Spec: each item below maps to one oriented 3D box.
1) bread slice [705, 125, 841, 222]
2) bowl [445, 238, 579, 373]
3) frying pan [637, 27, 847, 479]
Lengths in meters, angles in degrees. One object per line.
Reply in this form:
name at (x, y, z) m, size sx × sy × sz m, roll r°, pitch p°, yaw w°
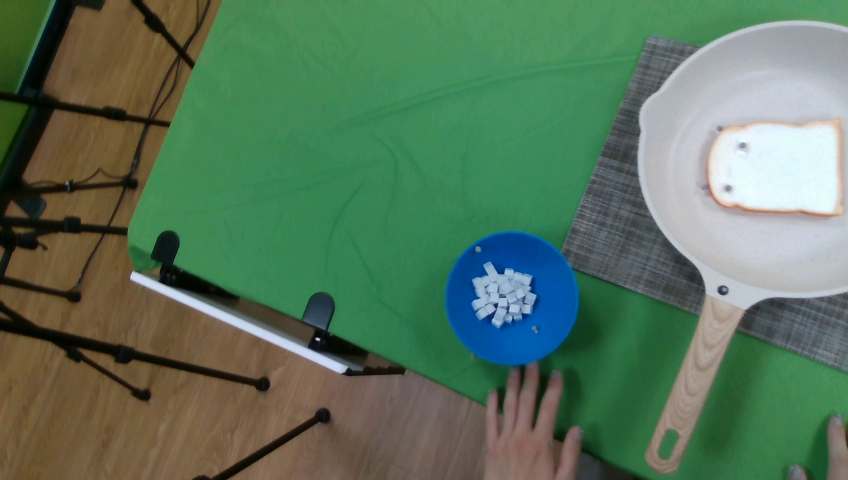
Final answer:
bread slice at (0.383, -0.071, 0.669) m, size 0.134 × 0.018 × 0.106 m, roll 0°, pitch 80°, yaw 15°
bowl at (0.106, 0.078, 0.703) m, size 0.151 × 0.077 × 0.151 m, roll -3°, pitch 79°, yaw 17°
frying pan at (0.332, 0.015, 0.627) m, size 0.305 × 0.103 × 0.486 m, roll 24°, pitch 79°, yaw 21°
